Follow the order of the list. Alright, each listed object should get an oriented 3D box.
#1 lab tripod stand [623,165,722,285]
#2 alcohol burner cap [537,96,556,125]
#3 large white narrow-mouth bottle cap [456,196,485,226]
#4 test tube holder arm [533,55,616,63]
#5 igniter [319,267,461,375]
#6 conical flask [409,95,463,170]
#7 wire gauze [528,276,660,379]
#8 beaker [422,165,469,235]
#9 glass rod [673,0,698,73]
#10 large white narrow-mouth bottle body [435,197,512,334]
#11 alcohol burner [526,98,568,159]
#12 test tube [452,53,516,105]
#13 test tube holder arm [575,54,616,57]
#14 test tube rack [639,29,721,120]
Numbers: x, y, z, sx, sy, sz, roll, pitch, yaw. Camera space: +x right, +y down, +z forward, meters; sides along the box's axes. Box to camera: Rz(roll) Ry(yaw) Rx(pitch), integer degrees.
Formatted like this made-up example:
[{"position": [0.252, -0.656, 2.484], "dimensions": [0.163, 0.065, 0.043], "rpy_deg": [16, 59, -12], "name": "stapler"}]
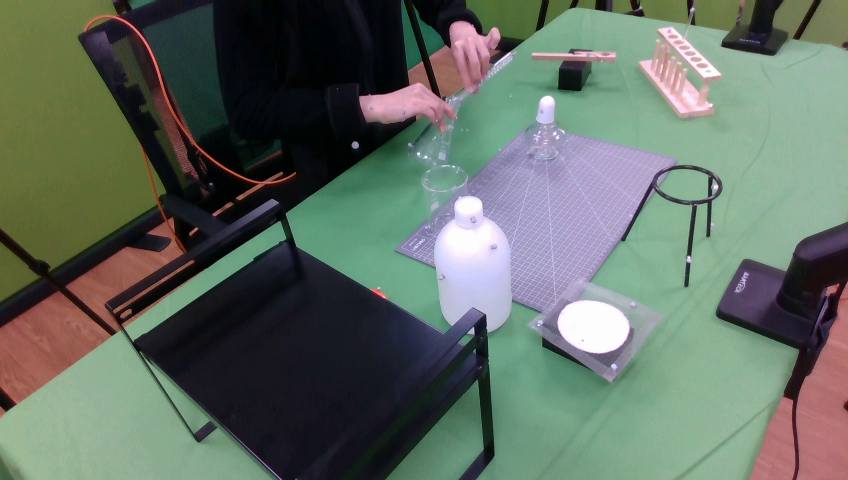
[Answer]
[{"position": [0.365, -0.030, 0.875], "dimensions": [0.148, 0.132, 0.147], "rpy_deg": [-6, 41, 6], "name": "lab tripod stand"}, {"position": [0.223, -0.237, 1.095], "dimensions": [0.034, 0.048, 0.033], "rpy_deg": [-1, 42, 1], "name": "alcohol burner cap"}, {"position": [0.057, -0.036, 0.749], "dimensions": [0.038, 0.024, 0.037], "rpy_deg": [-4, 40, 4], "name": "large white narrow-mouth bottle cap"}, {"position": [0.329, -0.398, 1.327], "dimensions": [0.178, 0.015, 0.013], "rpy_deg": [5, 51, 15], "name": "test tube holder arm"}, {"position": [-0.060, 0.108, 0.862], "dimensions": [0.274, 0.025, 0.057], "rpy_deg": [28, 62, 35], "name": "igniter"}, {"position": [0.028, -0.191, 1.064], "dimensions": [0.075, 0.122, 0.075], "rpy_deg": [23, 11, -4], "name": "conical flask"}, {"position": [0.214, 0.103, 0.763], "dimensions": [0.124, 0.011, 0.122], "rpy_deg": [30, 52, 35], "name": "wire gauze"}, {"position": [0.041, -0.063, 0.986], "dimensions": [0.073, 0.101, 0.084], "rpy_deg": [20, 47, 29], "name": "beaker"}, {"position": [0.537, -0.425, 1.244], "dimensions": [0.008, 0.200, 0.008], "rpy_deg": [0, 47, 0], "name": "glass rod"}, {"position": [0.066, 0.028, 0.805], "dimensions": [0.102, 0.195, 0.101], "rpy_deg": [-4, 40, 4], "name": "large white narrow-mouth bottle body"}, {"position": [0.228, -0.210, 1.118], "dimensions": [0.078, 0.119, 0.077], "rpy_deg": [-5, 43, 5], "name": "alcohol burner"}, {"position": [0.107, -0.287, 1.073], "dimensions": [0.150, 0.017, 0.017], "rpy_deg": [-40, 48, -15], "name": "test tube"}, {"position": [0.373, -0.398, 1.318], "dimensions": [0.087, 0.015, 0.010], "rpy_deg": [5, 51, 15], "name": "test tube holder arm"}, {"position": [0.527, -0.351, 1.262], "dimensions": [0.067, 0.085, 0.241], "rpy_deg": [-8, 40, 1], "name": "test tube rack"}]
